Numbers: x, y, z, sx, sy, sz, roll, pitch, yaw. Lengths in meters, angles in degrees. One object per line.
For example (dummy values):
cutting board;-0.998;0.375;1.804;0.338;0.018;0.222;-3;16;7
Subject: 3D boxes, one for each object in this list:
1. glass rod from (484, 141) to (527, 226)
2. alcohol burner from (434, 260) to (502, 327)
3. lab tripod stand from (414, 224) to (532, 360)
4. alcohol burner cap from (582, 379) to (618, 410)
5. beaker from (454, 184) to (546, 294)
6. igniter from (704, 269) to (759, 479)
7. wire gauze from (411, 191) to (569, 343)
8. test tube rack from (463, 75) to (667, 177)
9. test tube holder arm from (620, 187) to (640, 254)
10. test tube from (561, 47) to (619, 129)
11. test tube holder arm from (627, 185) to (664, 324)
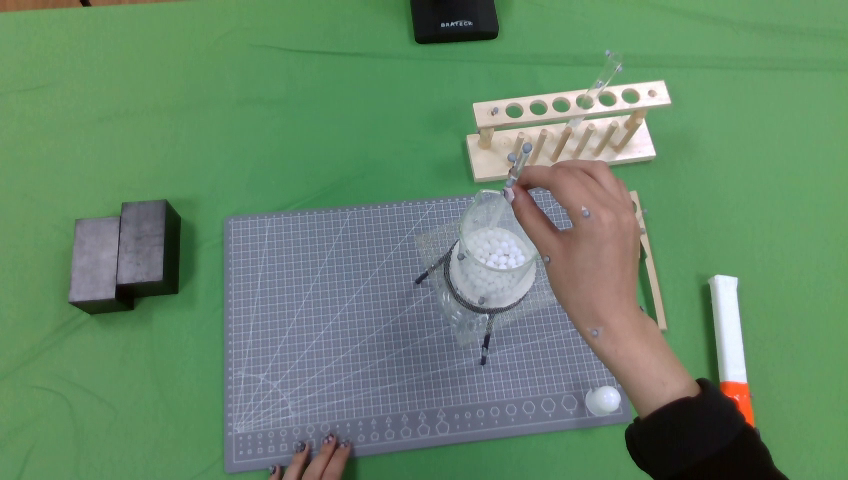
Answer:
glass rod;0.062;-0.039;0.489;0.008;0.200;0.008;0;77;-1
alcohol burner;0.051;0.054;0.672;0.078;0.120;0.077;1;68;-1
lab tripod stand;0.057;0.048;0.663;0.148;0.132;0.147;0;70;-1
alcohol burner cap;0.198;0.170;0.674;0.034;0.048;0.033;1;69;-2
beaker;0.064;0.003;0.559;0.074;0.101;0.083;-21;71;-8
igniter;0.350;0.166;0.694;0.057;0.025;0.274;8;69;-10
wire gauze;0.064;0.022;0.603;0.121;0.011;0.124;-22;73;-7
test tube rack;0.178;-0.143;0.769;0.243;0.085;0.066;-8;70;-6
test tube holder arm;0.263;-0.025;0.766;0.010;0.015;0.087;-16;69;25
test tube;0.196;-0.177;0.730;0.017;0.151;0.017;3;68;-8
test tube holder arm;0.273;0.016;0.749;0.013;0.015;0.177;-16;69;25
